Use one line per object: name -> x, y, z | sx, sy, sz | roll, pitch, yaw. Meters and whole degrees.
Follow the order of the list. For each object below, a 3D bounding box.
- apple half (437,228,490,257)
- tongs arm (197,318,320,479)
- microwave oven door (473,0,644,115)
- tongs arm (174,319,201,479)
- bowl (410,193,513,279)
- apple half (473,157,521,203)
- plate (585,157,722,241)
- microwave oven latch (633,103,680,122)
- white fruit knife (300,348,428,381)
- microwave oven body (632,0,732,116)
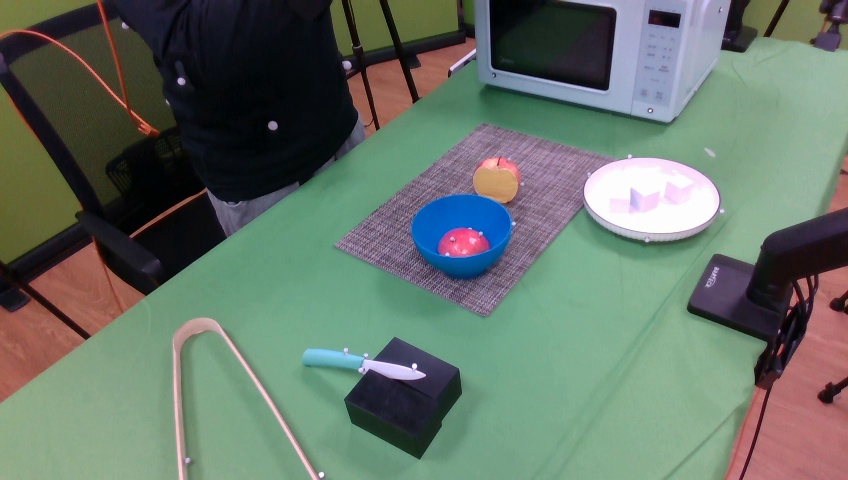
apple half -> 0.056, 0.002, 0.901 | 0.081, 0.033, 0.081 | -3, 41, 3
tongs arm -> -0.200, 0.207, 0.750 | 0.028, 0.028, 0.384 | -31, 45, -22
microwave oven door -> 0.257, -0.396, 1.199 | 0.353, 0.245, 0.039 | 21, 48, 29
tongs arm -> -0.272, 0.234, 0.723 | 0.051, 0.026, 0.381 | -19, 40, -15
bowl -> 0.058, 0.005, 0.905 | 0.151, 0.077, 0.150 | -4, 40, 4
apple half -> 0.128, -0.107, 1.030 | 0.080, 0.075, 0.053 | 4, 38, 19
plate -> 0.367, -0.063, 0.979 | 0.207, 0.039, 0.206 | -4, 40, 4
microwave oven latch -> 0.444, -0.249, 1.157 | 0.078, 0.029, 0.030 | 21, 49, 30
white fruit knife -> -0.080, 0.154, 0.748 | 0.206, 0.027, 0.016 | 1, 20, 34
microwave oven body -> 0.377, -0.462, 1.267 | 0.438, 0.261, 0.327 | 21, 48, 30
